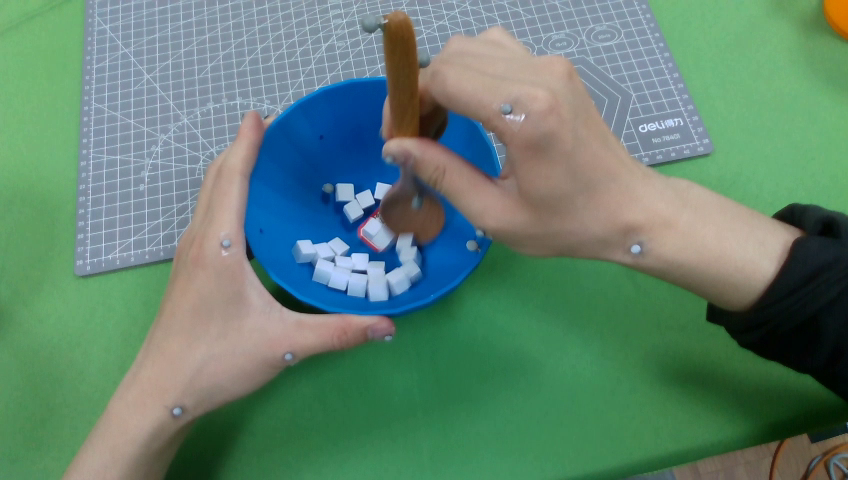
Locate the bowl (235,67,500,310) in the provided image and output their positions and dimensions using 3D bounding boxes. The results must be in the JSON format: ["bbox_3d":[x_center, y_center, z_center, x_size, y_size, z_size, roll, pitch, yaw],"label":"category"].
[{"bbox_3d":[-0.030,-0.021,0.375,0.151,0.077,0.150,-1,69,3],"label":"bowl"}]

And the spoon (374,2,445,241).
[{"bbox_3d":[-0.009,-0.042,0.298,0.041,0.195,0.021,4,71,2],"label":"spoon"}]
